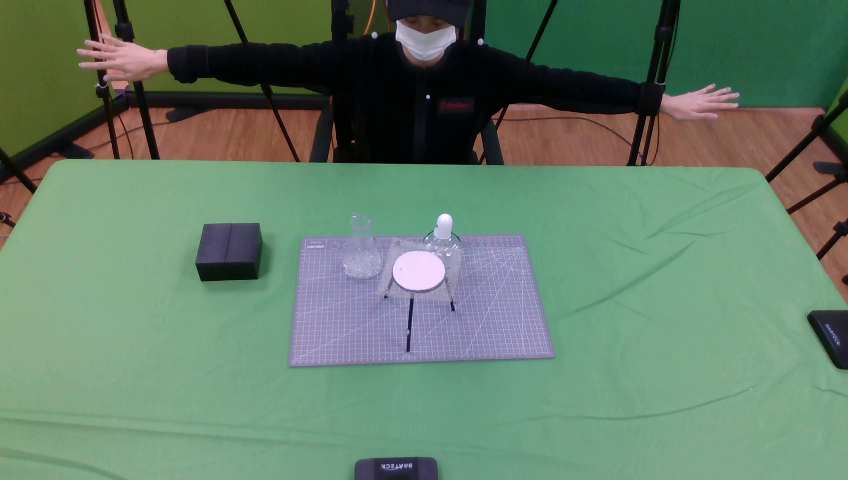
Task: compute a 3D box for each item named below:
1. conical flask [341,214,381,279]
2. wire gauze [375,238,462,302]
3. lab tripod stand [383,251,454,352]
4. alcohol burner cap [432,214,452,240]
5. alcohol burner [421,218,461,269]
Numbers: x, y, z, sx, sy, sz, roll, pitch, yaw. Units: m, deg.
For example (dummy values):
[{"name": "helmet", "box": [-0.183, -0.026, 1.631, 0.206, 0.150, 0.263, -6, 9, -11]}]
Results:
[{"name": "conical flask", "box": [-0.116, 0.009, 1.107, 0.075, 0.122, 0.075, 2, 46, -2]}, {"name": "wire gauze", "box": [-0.006, 0.048, 0.977, 0.121, 0.011, 0.124, 9, 45, 5]}, {"name": "lab tripod stand", "box": [-0.015, 0.094, 1.025, 0.148, 0.132, 0.147, 1, 46, -1]}, {"name": "alcohol burner cap", "box": [0.035, -0.027, 1.110, 0.034, 0.048, 0.033, 7, 42, -6]}, {"name": "alcohol burner", "box": [0.033, -0.001, 1.135, 0.078, 0.119, 0.077, 3, 48, -3]}]
